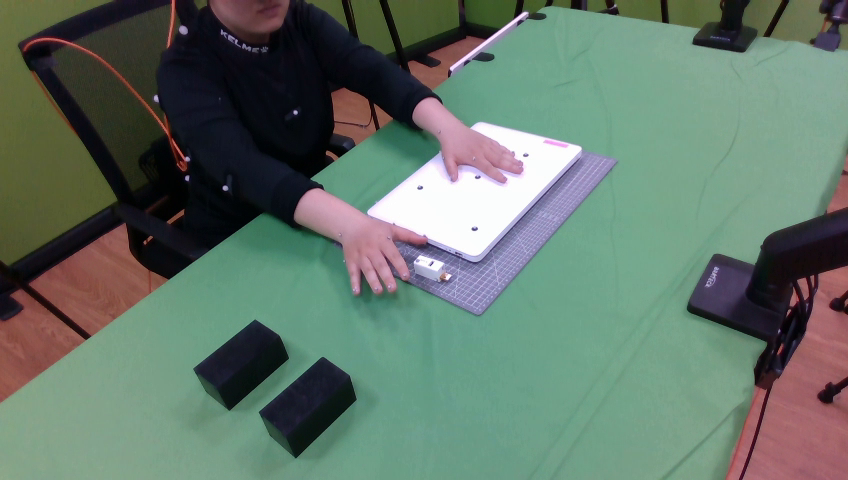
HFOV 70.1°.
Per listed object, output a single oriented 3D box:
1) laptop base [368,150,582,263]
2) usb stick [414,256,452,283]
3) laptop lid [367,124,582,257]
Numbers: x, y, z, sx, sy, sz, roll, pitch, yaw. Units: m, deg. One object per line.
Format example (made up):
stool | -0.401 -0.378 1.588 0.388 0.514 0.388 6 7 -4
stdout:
laptop base | 0.098 -0.097 1.071 0.233 0.023 0.355 20 47 33
usb stick | 0.015 0.046 0.905 0.059 0.027 0.021 21 46 25
laptop lid | 0.095 -0.106 1.066 0.239 0.013 0.358 22 48 34
